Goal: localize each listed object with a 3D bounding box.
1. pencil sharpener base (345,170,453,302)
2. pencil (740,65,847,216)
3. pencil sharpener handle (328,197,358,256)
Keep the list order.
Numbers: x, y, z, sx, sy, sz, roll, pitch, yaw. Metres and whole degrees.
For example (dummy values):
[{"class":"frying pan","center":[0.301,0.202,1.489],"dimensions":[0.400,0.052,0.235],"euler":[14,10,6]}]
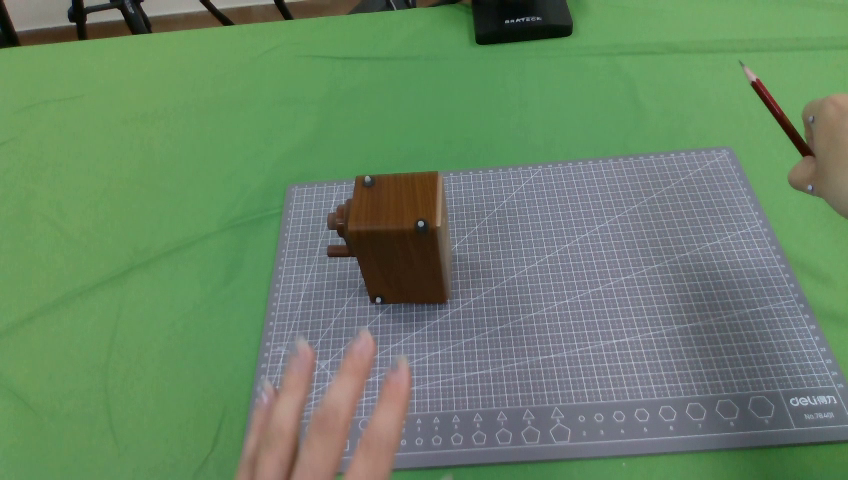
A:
[{"class":"pencil sharpener base","center":[-0.017,0.000,0.498],"dimensions":[0.076,0.108,0.061],"euler":[-2,52,6]},{"class":"pencil","center":[0.297,-0.054,0.457],"dimensions":[0.012,0.012,0.194],"euler":[-35,88,-20]},{"class":"pencil sharpener handle","center":[-0.069,-0.007,0.494],"dimensions":[0.030,0.068,0.035],"euler":[-2,56,6]}]
